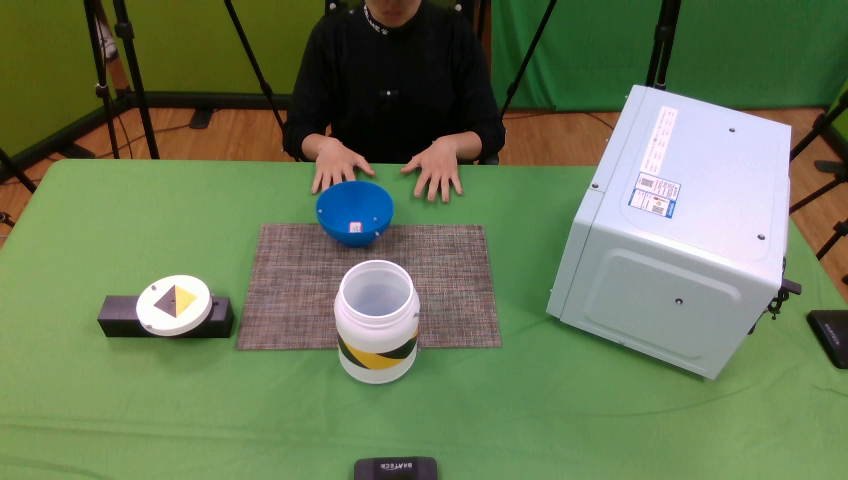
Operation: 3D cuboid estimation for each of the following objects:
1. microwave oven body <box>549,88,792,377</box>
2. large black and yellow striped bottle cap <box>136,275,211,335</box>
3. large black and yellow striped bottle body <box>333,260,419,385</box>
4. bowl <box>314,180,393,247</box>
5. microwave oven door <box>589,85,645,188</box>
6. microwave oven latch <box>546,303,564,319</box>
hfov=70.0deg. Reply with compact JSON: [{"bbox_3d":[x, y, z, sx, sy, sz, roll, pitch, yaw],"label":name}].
[{"bbox_3d":[0.456,-0.028,1.088,0.325,0.261,0.440,20,47,16],"label":"microwave oven body"},{"bbox_3d":[-0.412,0.105,0.999,0.115,0.019,0.114,3,46,-3],"label":"large black and yellow striped bottle cap"},{"bbox_3d":[-0.075,0.129,0.950,0.131,0.185,0.130,2,49,-2],"label":"large black and yellow striped bottle body"},{"bbox_3d":[-0.135,-0.039,1.180,0.151,0.077,0.150,3,46,-2],"label":"bowl"},{"bbox_3d":[0.341,-0.107,1.149,0.039,0.245,0.354,20,48,15],"label":"microwave oven door"},{"bbox_3d":[0.242,0.102,1.081,0.030,0.029,0.079,21,48,17],"label":"microwave oven latch"}]
